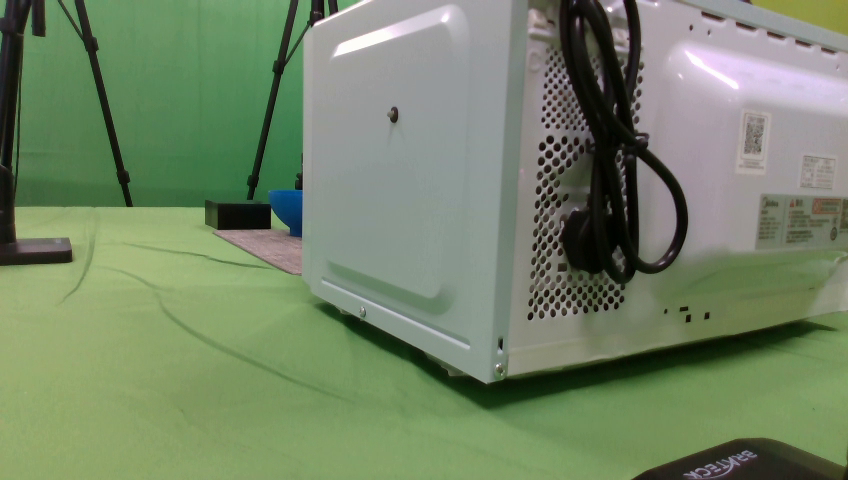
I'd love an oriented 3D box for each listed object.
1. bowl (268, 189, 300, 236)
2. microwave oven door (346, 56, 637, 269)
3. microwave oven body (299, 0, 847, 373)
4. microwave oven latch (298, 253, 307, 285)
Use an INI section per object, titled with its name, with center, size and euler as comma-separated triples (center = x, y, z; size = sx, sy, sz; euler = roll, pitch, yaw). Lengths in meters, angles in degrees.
[bowl]
center = -0.205, -0.049, 1.090
size = 0.151, 0.077, 0.151
euler = 3, 7, 0
[microwave oven door]
center = 0.088, -0.087, 0.740
size = 0.357, 0.243, 0.039
euler = 1, 8, -13
[microwave oven body]
center = 0.151, -0.055, 0.543
size = 0.444, 0.260, 0.324
euler = -2, 7, -33
[microwave oven latch]
center = -0.081, 0.027, 0.582
size = 0.079, 0.029, 0.030
euler = -1, 7, -31
